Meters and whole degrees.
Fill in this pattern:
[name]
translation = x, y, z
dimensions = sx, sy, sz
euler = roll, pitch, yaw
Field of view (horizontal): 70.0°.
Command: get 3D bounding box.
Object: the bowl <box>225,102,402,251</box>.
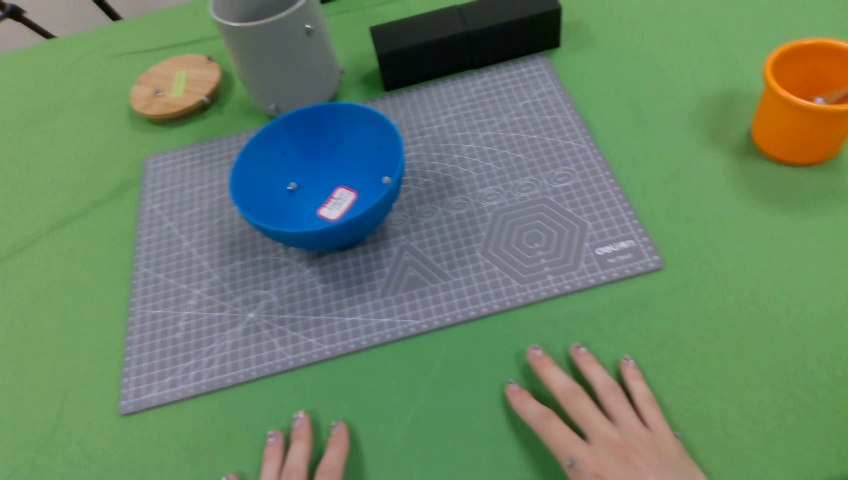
[bowl]
translation = -0.088, -0.043, 0.536
dimensions = 0.151, 0.077, 0.150
euler = -5, 53, 7

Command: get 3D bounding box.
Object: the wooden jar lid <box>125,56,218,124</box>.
[wooden jar lid]
translation = -0.292, -0.174, 0.709
dimensions = 0.108, 0.021, 0.107
euler = -3, 54, 5

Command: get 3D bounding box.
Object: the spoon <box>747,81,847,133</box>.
[spoon]
translation = 0.355, -0.127, 0.481
dimensions = 0.022, 0.193, 0.041
euler = 41, 60, -16

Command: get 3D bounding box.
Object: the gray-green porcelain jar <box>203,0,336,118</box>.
[gray-green porcelain jar]
translation = -0.155, -0.200, 0.637
dimensions = 0.106, 0.128, 0.105
euler = -5, 53, 7
